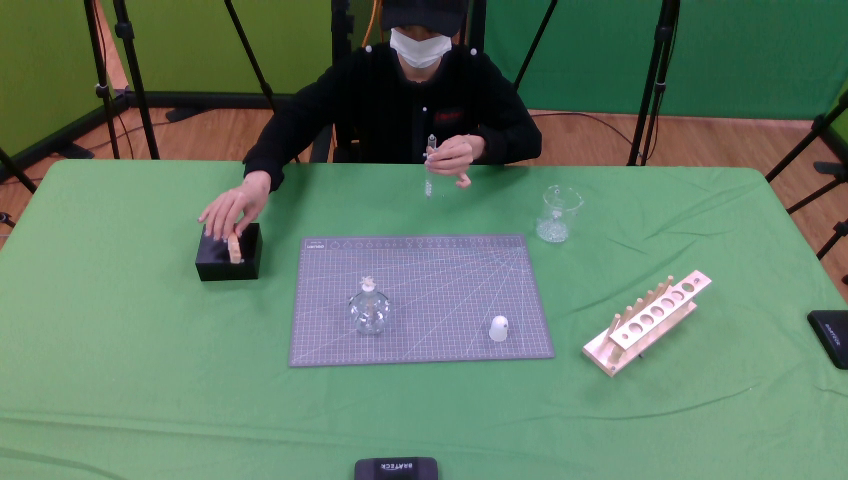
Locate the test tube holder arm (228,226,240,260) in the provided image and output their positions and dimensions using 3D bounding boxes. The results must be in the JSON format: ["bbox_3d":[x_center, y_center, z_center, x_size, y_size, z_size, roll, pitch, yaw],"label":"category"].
[{"bbox_3d":[-0.334,0.005,1.063,0.015,0.010,0.087,15,30,-34],"label":"test tube holder arm"}]

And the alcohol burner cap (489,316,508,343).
[{"bbox_3d":[0.130,0.151,1.045,0.034,0.048,0.033,2,46,-2],"label":"alcohol burner cap"}]

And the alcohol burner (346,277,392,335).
[{"bbox_3d":[-0.093,0.106,1.021,0.078,0.120,0.077,1,46,-1],"label":"alcohol burner"}]

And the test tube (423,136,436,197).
[{"bbox_3d":[0.009,-0.134,1.139,0.017,0.151,0.017,2,51,-2],"label":"test tube"}]

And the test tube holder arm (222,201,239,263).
[{"bbox_3d":[-0.352,-0.018,1.097,0.015,0.013,0.177,15,29,-34],"label":"test tube holder arm"}]

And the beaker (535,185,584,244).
[{"bbox_3d":[0.268,-0.048,1.213,0.084,0.101,0.073,6,46,0],"label":"beaker"}]

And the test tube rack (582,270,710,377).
[{"bbox_3d":[0.389,0.132,1.058,0.242,0.085,0.066,-28,53,-28],"label":"test tube rack"}]
